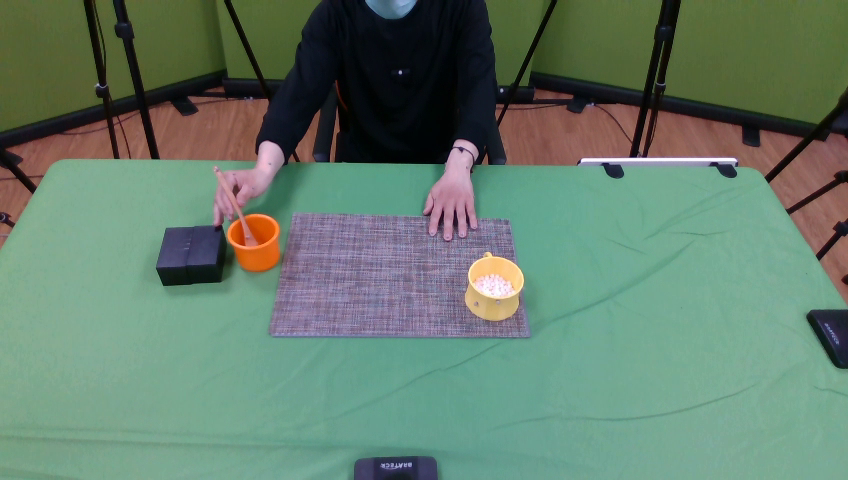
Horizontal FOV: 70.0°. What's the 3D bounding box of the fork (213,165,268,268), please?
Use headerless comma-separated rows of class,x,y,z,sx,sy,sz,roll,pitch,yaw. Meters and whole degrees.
fork,-0.341,-0.043,1.122,0.018,0.207,0.028,-16,9,47

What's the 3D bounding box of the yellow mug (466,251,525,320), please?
yellow mug,0.125,0.074,1.096,0.100,0.064,0.130,-4,46,-7
